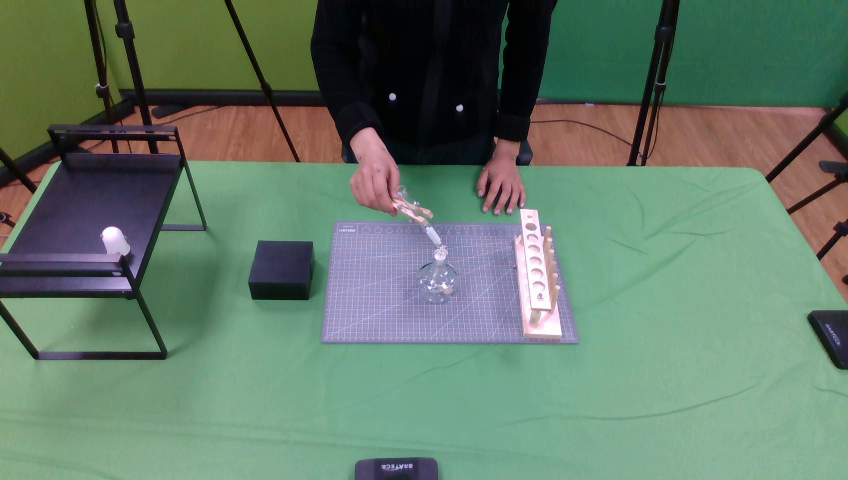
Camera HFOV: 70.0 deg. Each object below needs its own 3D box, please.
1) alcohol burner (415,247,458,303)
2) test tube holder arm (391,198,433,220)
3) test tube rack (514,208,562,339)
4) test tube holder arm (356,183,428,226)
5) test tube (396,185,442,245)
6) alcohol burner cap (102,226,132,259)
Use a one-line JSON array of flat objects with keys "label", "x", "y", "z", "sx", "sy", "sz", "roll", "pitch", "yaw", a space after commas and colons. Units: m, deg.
[{"label": "alcohol burner", "x": 0.024, "y": 0.057, "z": 1.078, "sx": 0.078, "sy": 0.119, "sz": 0.077, "roll": 3, "pitch": 44, "yaw": -2}, {"label": "test tube holder arm", "x": -0.022, "y": -0.050, "z": 0.972, "sx": 0.087, "sy": 0.015, "sz": 0.010, "roll": 20, "pitch": 62, "yaw": 37}, {"label": "test tube rack", "x": 0.212, "y": 0.056, "z": 1.113, "sx": 0.067, "sy": 0.085, "sz": 0.241, "roll": 3, "pitch": 46, "yaw": -1}, {"label": "test tube holder arm", "x": -0.057, "y": -0.061, "z": 0.999, "sx": 0.177, "sy": 0.015, "sz": 0.013, "roll": 27, "pitch": 67, "yaw": 40}, {"label": "test tube", "x": -0.005, "y": -0.036, "z": 0.961, "sx": 0.017, "sy": 0.151, "sz": 0.017, "roll": -15, "pitch": 50, "yaw": 19}, {"label": "alcohol burner cap", "x": -0.457, "y": 0.001, "z": 0.897, "sx": 0.034, "sy": 0.048, "sz": 0.033, "roll": 2, "pitch": 47, "yaw": -2}]
